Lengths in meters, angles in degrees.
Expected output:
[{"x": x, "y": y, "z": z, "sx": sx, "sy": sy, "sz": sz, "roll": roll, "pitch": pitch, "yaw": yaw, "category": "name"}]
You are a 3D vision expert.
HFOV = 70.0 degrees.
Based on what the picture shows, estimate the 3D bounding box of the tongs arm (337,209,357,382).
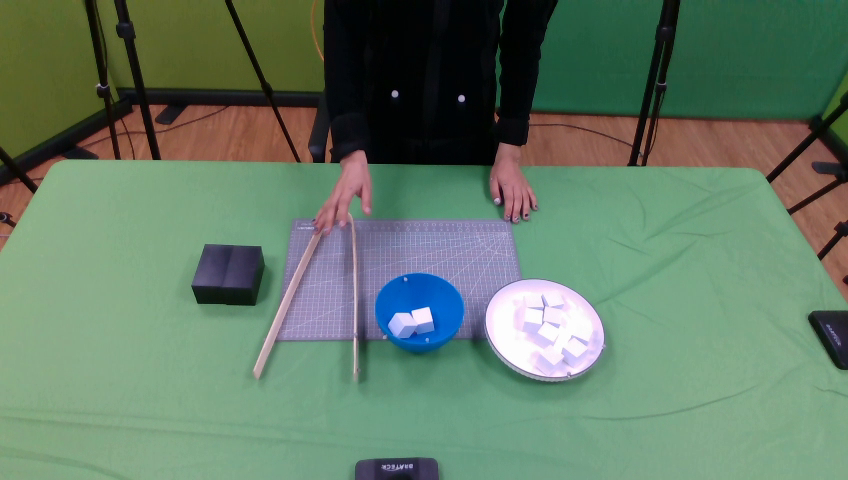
[{"x": -0.143, "y": 0.083, "z": 1.094, "sx": 0.051, "sy": 0.026, "sz": 0.382, "roll": -3, "pitch": 46, "yaw": -1, "category": "tongs arm"}]

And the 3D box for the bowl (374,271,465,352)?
[{"x": -0.009, "y": 0.136, "z": 1.024, "sx": 0.151, "sy": 0.077, "sz": 0.150, "roll": 2, "pitch": 47, "yaw": -2, "category": "bowl"}]

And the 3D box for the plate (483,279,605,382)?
[{"x": 0.204, "y": 0.158, "z": 1.046, "sx": 0.208, "sy": 0.039, "sz": 0.206, "roll": 3, "pitch": 47, "yaw": -3, "category": "plate"}]

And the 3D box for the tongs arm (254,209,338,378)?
[{"x": -0.227, "y": 0.079, "z": 1.095, "sx": 0.028, "sy": 0.028, "sz": 0.385, "roll": 5, "pitch": 46, "yaw": 11, "category": "tongs arm"}]
